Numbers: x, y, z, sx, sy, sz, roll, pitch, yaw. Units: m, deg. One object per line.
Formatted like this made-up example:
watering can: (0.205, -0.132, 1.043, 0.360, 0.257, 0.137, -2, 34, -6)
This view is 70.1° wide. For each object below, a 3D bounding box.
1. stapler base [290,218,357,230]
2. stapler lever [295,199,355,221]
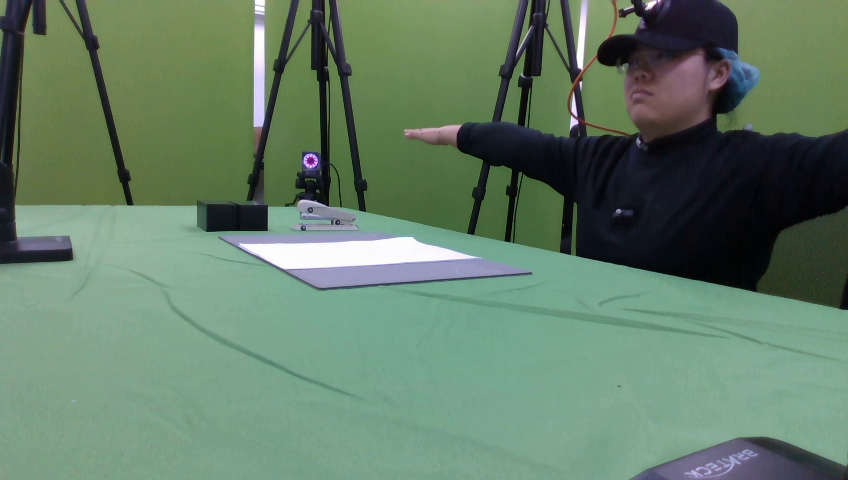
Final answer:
stapler base: (-0.199, -0.033, 1.201, 0.131, 0.024, 0.041, 2, 9, -25)
stapler lever: (-0.196, -0.058, 1.199, 0.118, 0.040, 0.026, 2, 10, -25)
